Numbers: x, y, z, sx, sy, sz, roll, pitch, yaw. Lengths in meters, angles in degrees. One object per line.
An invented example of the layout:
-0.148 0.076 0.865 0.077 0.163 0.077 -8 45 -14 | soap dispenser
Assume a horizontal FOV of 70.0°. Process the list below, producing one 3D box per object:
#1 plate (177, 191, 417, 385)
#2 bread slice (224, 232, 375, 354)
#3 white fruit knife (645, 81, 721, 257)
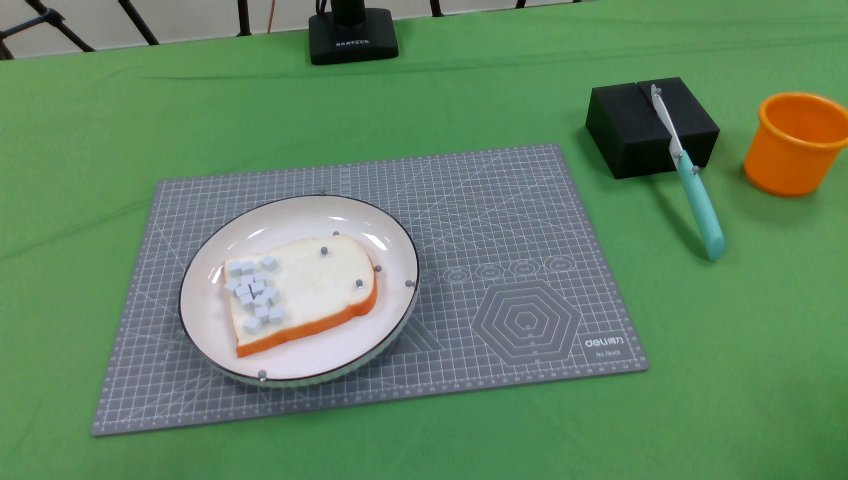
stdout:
-0.109 0.040 0.540 0.209 0.038 0.207 -1 48 1 | plate
-0.112 0.037 0.546 0.132 0.019 0.103 -18 51 -12 | bread slice
0.256 -0.081 0.610 0.016 0.027 0.205 -7 63 -5 | white fruit knife
